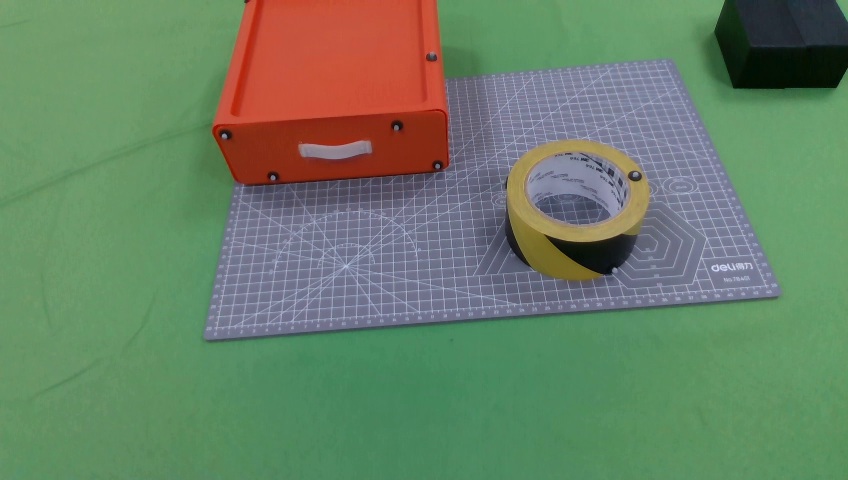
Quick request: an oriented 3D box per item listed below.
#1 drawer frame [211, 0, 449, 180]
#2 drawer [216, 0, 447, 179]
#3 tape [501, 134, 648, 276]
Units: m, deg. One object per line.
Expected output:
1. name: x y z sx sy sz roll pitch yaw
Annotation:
1. drawer frame: -0.082 -0.164 0.593 0.202 0.083 0.211 -5 52 1
2. drawer: -0.081 -0.162 0.592 0.194 0.074 0.209 -4 53 2
3. tape: 0.122 -0.029 0.496 0.117 0.053 0.115 -2 53 4
